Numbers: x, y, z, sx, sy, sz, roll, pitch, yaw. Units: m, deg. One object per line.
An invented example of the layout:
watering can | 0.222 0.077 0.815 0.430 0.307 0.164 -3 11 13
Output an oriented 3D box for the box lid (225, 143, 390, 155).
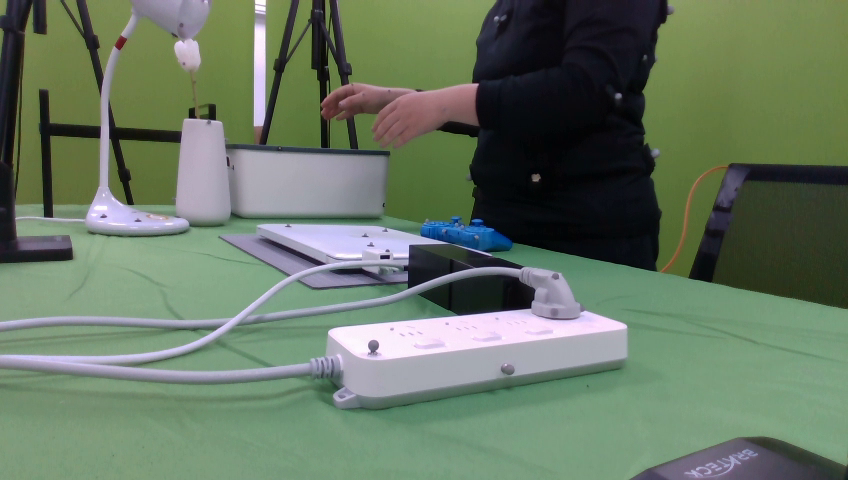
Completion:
box lid | -0.296 -0.217 1.463 0.373 0.015 0.262 -2 8 -29

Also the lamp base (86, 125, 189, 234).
lamp base | -0.497 -0.105 1.027 0.179 0.180 0.160 1 7 3

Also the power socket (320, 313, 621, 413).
power socket | 0.038 0.075 0.409 0.228 0.032 0.072 -2 8 -29

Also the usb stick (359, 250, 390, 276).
usb stick | -0.061 0.026 0.709 0.021 0.027 0.059 -1 3 -29

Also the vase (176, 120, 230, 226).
vase | -0.424 -0.128 1.159 0.098 0.200 0.098 2 9 0

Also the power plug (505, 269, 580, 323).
power plug | 0.092 0.051 0.470 0.035 0.052 0.072 0 7 -16

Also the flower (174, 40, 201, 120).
flower | -0.430 -0.211 1.166 0.044 0.361 0.038 -10 -5 -23

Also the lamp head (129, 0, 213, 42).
lamp head | -0.423 -0.394 0.980 0.123 0.112 0.112 20 7 -3

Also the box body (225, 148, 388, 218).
box body | -0.298 -0.143 1.474 0.366 0.160 0.253 -1 9 -30

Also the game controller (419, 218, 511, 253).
game controller | 0.063 -0.009 1.028 0.154 0.051 0.097 9 15 43

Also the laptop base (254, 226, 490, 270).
laptop base | -0.095 0.011 0.912 0.237 0.023 0.352 3 6 -32

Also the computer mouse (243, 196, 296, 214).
computer mouse | -0.362 -0.082 1.416 0.117 0.041 0.063 -3 10 5

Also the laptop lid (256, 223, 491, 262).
laptop lid | -0.092 0.000 0.911 0.243 0.013 0.355 1 7 -30
